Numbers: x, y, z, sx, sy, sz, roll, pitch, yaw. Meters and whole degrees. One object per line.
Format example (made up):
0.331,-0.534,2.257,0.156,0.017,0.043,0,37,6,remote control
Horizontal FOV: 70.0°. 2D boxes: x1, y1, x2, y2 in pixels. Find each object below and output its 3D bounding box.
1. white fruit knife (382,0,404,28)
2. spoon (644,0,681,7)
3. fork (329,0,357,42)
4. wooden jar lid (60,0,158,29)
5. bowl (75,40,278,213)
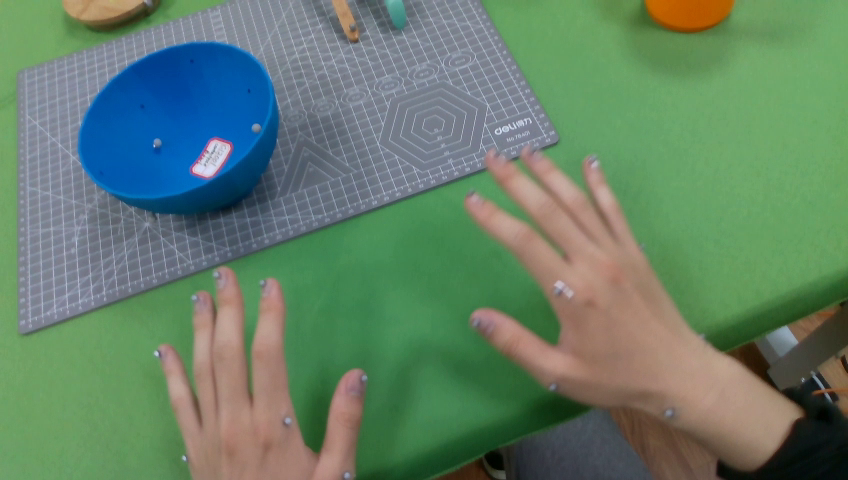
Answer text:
-0.061,-0.296,0.587,0.016,0.027,0.206,-20,75,-5,white fruit knife
0.263,-0.261,0.488,0.022,0.194,0.041,11,53,-38,spoon
-0.108,-0.281,0.583,0.028,0.019,0.206,-22,80,-10,fork
-0.326,-0.263,0.638,0.108,0.021,0.107,-2,61,4,wooden jar lid
-0.181,-0.076,0.482,0.151,0.077,0.150,-3,61,6,bowl
